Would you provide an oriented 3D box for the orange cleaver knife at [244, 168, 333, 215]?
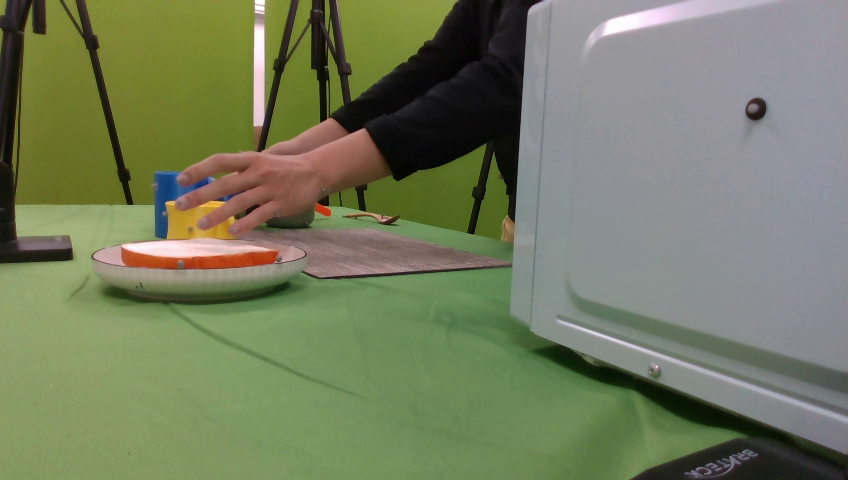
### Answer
[{"bbox_3d":[-0.300,-0.089,1.351,0.212,0.077,0.012,28,-9,-34],"label":"orange cleaver knife"}]

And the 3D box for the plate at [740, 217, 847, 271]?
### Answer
[{"bbox_3d":[0.358,0.002,0.464,0.209,0.038,0.209,0,4,0],"label":"plate"}]

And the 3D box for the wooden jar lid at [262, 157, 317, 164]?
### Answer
[{"bbox_3d":[-0.269,-0.154,1.208,0.108,0.020,0.108,3,4,0],"label":"wooden jar lid"}]

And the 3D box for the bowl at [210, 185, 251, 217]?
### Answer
[{"bbox_3d":[-0.408,-0.064,1.154,0.151,0.077,0.151,2,8,0],"label":"bowl"}]

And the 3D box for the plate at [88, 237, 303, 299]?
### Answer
[{"bbox_3d":[-0.233,0.029,0.636,0.208,0.039,0.207,2,7,0],"label":"plate"}]

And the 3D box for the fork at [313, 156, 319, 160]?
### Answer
[{"bbox_3d":[-0.331,-0.144,1.506,0.207,0.018,0.028,-42,-18,22],"label":"fork"}]

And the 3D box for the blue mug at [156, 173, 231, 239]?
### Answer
[{"bbox_3d":[-0.381,-0.057,1.004,0.117,0.106,0.082,1,8,-12],"label":"blue mug"}]

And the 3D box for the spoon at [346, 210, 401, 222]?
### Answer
[{"bbox_3d":[-0.121,-0.059,1.400,0.042,0.021,0.192,-27,25,-38],"label":"spoon"}]

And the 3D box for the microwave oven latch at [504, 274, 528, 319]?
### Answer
[{"bbox_3d":[0.100,0.041,0.469,0.079,0.029,0.030,-1,7,-25],"label":"microwave oven latch"}]

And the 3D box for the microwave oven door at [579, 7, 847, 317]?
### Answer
[{"bbox_3d":[0.294,-0.067,0.570,0.358,0.243,0.039,-3,9,-31],"label":"microwave oven door"}]

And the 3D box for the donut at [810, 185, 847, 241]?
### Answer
[{"bbox_3d":[0.352,-0.024,0.463,0.099,0.048,0.099,-10,4,1],"label":"donut"}]

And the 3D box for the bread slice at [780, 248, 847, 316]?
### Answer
[{"bbox_3d":[0.370,0.023,0.476,0.132,0.019,0.104,-24,10,-9],"label":"bread slice"}]

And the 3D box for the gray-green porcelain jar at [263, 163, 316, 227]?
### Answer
[{"bbox_3d":[-0.270,-0.092,1.217,0.106,0.126,0.106,1,7,0],"label":"gray-green porcelain jar"}]

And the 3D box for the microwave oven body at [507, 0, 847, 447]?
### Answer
[{"bbox_3d":[0.331,-0.042,0.425,0.444,0.260,0.324,-2,8,-31],"label":"microwave oven body"}]

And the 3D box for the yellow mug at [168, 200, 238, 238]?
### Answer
[{"bbox_3d":[-0.320,-0.023,0.904,0.130,0.064,0.100,9,11,36],"label":"yellow mug"}]

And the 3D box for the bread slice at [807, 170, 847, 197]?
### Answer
[{"bbox_3d":[0.365,-0.051,0.453,0.135,0.018,0.106,-10,1,-23],"label":"bread slice"}]
